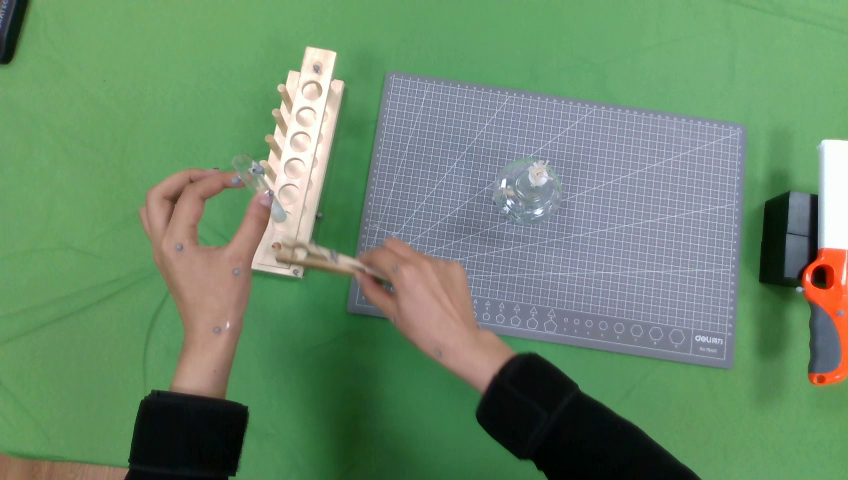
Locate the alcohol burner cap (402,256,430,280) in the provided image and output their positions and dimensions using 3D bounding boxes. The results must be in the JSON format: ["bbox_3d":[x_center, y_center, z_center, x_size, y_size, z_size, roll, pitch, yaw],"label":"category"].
[{"bbox_3d":[-0.008,0.033,0.682,0.034,0.048,0.033,1,80,-4],"label":"alcohol burner cap"}]

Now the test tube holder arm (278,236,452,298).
[{"bbox_3d":[-0.058,0.026,0.590,0.178,0.015,0.013,15,73,7],"label":"test tube holder arm"}]

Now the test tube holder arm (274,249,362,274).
[{"bbox_3d":[-0.103,0.022,0.594,0.088,0.015,0.010,8,72,5],"label":"test tube holder arm"}]

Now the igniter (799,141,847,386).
[{"bbox_3d":[0.447,0.023,0.668,0.057,0.025,0.275,6,79,11],"label":"igniter"}]

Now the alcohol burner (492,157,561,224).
[{"bbox_3d":[0.116,-0.058,0.667,0.078,0.119,0.077,0,82,-1],"label":"alcohol burner"}]

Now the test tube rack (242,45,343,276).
[{"bbox_3d":[-0.152,-0.088,0.677,0.067,0.085,0.241,11,80,0],"label":"test tube rack"}]

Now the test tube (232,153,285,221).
[{"bbox_3d":[-0.137,-0.041,0.512,0.017,0.150,0.017,1,77,-3],"label":"test tube"}]
